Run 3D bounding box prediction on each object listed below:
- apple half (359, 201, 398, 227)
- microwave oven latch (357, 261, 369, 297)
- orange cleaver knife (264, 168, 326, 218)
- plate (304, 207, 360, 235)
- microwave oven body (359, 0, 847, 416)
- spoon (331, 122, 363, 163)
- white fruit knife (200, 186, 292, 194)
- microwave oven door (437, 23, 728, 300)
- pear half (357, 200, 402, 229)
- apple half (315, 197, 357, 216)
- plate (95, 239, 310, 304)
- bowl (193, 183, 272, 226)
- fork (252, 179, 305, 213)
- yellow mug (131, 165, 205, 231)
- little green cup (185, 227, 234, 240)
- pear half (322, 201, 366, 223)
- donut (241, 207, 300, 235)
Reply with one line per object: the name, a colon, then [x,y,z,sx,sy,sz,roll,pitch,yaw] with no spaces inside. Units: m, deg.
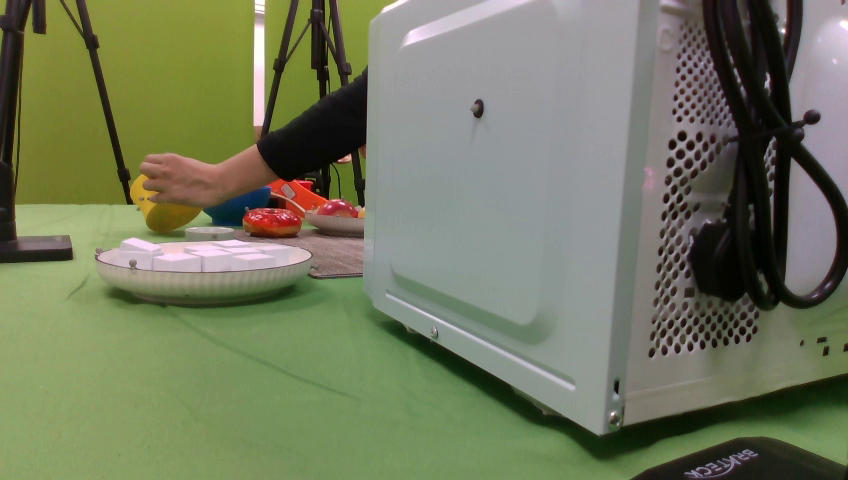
apple half: [-0.088,-0.058,1.190,0.081,0.033,0.081,9,29,-5]
microwave oven latch: [-0.019,0.033,0.530,0.079,0.029,0.030,-1,7,-26]
orange cleaver knife: [-0.263,-0.087,1.353,0.211,0.077,0.012,28,13,-1]
plate: [-0.123,-0.037,1.149,0.209,0.038,0.209,2,7,0]
microwave oven body: [0.211,-0.047,0.474,0.444,0.260,0.324,-1,7,-28]
spoon: [-0.166,-0.224,1.370,0.041,0.021,0.193,7,40,10]
white fruit knife: [-0.399,-0.111,1.368,0.208,0.016,0.027,-4,-19,-30]
microwave oven door: [0.181,-0.073,0.621,0.358,0.243,0.039,-2,8,-29]
pear half: [-0.075,-0.047,1.132,0.076,0.056,0.110,12,7,31]
apple half: [-0.162,-0.052,1.121,0.081,0.053,0.074,5,7,-14]
plate: [-0.224,0.031,0.629,0.208,0.039,0.207,2,8,0]
bowl: [-0.381,-0.071,1.202,0.151,0.077,0.151,3,7,0]
fork: [-0.295,-0.083,1.292,0.206,0.018,0.028,29,11,25]
yellow mug: [-0.435,-0.080,1.024,0.100,0.064,0.131,-31,-20,-25]
little green cup: [-0.285,0.005,0.805,0.061,0.038,0.061,2,8,0]
pear half: [-0.157,-0.059,1.197,0.088,0.031,0.070,11,30,-3]
donut: [-0.263,-0.031,1.039,0.099,0.048,0.099,5,9,0]
